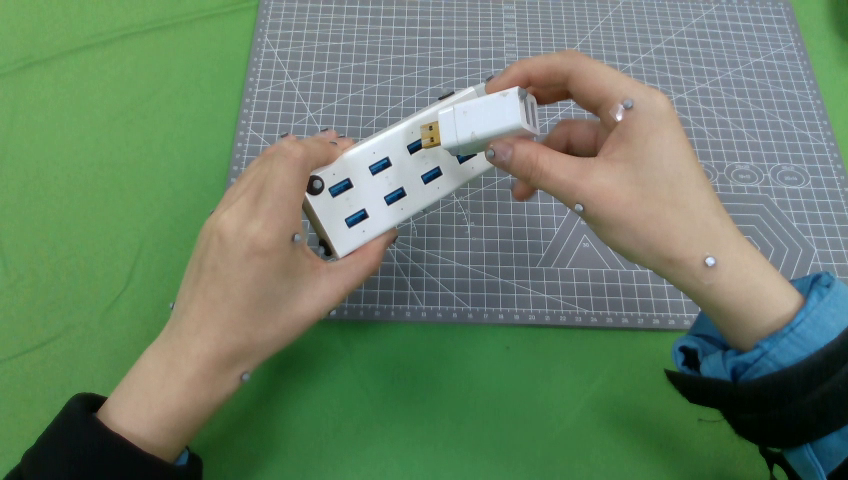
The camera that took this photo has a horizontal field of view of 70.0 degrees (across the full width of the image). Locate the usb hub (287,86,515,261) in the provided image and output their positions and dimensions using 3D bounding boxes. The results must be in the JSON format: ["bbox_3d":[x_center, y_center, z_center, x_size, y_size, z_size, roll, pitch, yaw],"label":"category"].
[{"bbox_3d":[-0.010,-0.040,0.341,0.125,0.025,0.050,-31,105,-20],"label":"usb hub"}]

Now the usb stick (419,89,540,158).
[{"bbox_3d":[0.026,-0.056,0.306,0.059,0.027,0.021,-12,84,27],"label":"usb stick"}]
